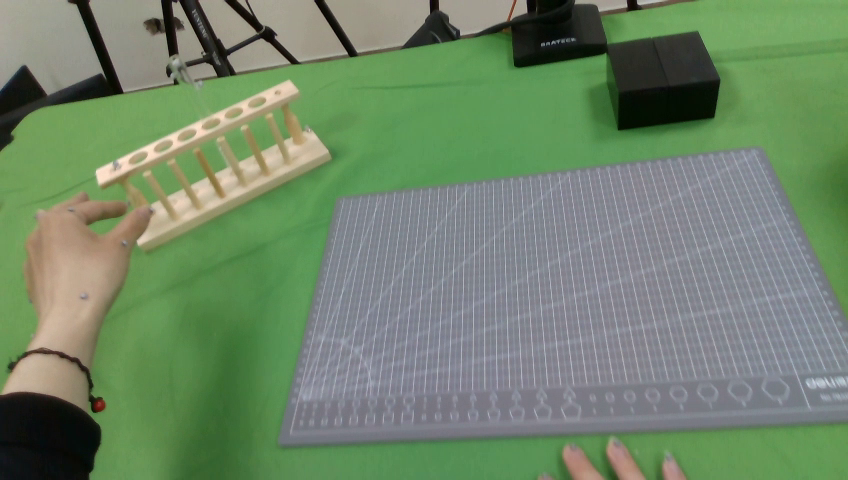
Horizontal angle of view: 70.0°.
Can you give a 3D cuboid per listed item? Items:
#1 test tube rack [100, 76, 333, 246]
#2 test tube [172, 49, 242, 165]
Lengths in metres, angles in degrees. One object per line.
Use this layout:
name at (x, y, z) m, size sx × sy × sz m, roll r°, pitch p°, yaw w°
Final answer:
test tube rack at (-0.239, -0.096, 0.717) m, size 0.242 × 0.086 × 0.066 m, roll -29°, pitch 47°, yaw -11°
test tube at (-0.246, -0.149, 0.697) m, size 0.017 × 0.152 × 0.017 m, roll -9°, pitch 42°, yaw 9°
